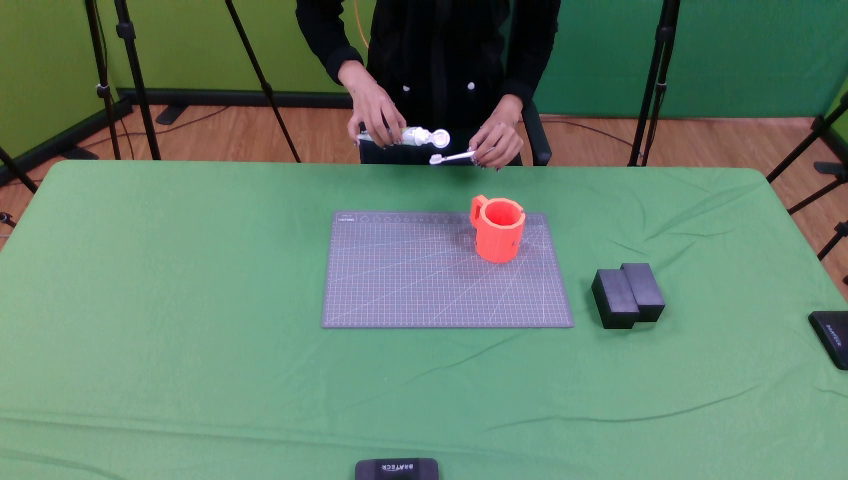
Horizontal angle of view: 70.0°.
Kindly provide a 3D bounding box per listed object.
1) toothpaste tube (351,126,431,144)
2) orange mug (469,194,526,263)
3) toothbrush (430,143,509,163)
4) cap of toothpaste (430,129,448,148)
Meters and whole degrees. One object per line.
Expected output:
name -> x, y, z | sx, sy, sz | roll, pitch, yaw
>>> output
toothpaste tube -> -0.059, -0.205, 1.167 | 0.164, 0.034, 0.055 | 8, 25, 28
orange mug -> 0.136, -0.030, 1.180 | 0.083, 0.101, 0.125 | -26, 58, -26
toothbrush -> 0.092, -0.173, 1.187 | 0.182, 0.017, 0.014 | -14, 40, -25
cap of toothpaste -> 0.028, -0.193, 1.145 | 0.037, 0.037, 0.011 | 0, 1, 7
